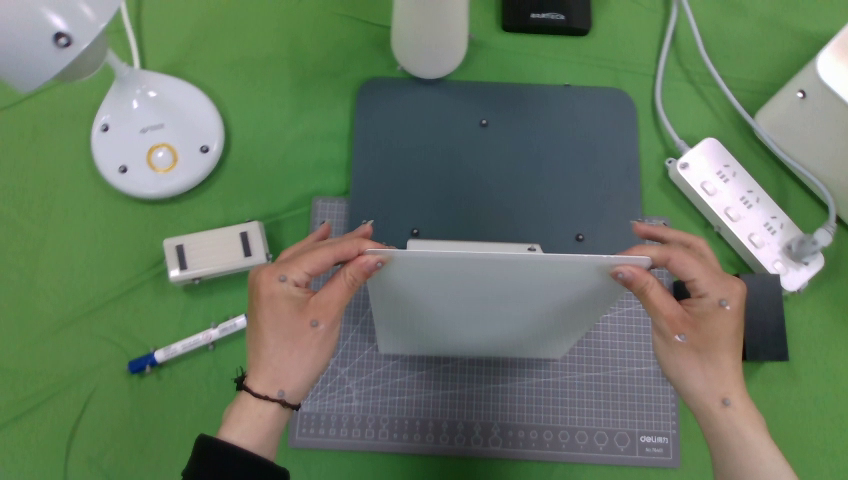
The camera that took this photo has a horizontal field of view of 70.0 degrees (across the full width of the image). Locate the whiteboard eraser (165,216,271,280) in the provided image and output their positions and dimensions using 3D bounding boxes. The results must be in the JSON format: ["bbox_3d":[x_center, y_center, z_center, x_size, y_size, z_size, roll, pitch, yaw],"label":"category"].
[{"bbox_3d":[-0.242,0.009,0.715,0.113,0.042,0.055,-12,80,-5],"label":"whiteboard eraser"}]

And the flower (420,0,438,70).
[{"bbox_3d":[0.024,-0.313,0.636,0.044,0.364,0.038,40,62,13],"label":"flower"}]

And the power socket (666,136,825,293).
[{"bbox_3d":[0.401,-0.033,0.757,0.072,0.033,0.226,-36,81,-10],"label":"power socket"}]

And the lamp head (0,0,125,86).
[{"bbox_3d":[-0.282,-0.186,0.405,0.112,0.124,0.111,-22,43,23],"label":"lamp head"}]

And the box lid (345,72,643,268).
[{"bbox_3d":[0.094,-0.083,0.766,0.372,0.015,0.262,3,77,-2],"label":"box lid"}]

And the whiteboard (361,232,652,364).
[{"bbox_3d":[0.060,0.014,0.605,0.217,0.307,0.142,3,65,-1],"label":"whiteboard"}]

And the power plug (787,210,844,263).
[{"bbox_3d":[0.471,0.001,0.728,0.072,0.053,0.035,-26,77,-12],"label":"power plug"}]

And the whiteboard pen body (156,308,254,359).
[{"bbox_3d":[-0.265,0.113,0.702,0.141,0.017,0.017,-23,78,-6],"label":"whiteboard pen body"}]

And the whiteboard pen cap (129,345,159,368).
[{"bbox_3d":[-0.319,0.133,0.695,0.033,0.018,0.018,-24,78,-4],"label":"whiteboard pen cap"}]

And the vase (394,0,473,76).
[{"bbox_3d":[0.014,-0.279,0.712,0.098,0.201,0.097,1,75,-3],"label":"vase"}]

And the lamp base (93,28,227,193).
[{"bbox_3d":[-0.330,-0.164,0.680,0.161,0.181,0.178,-27,77,-8],"label":"lamp base"}]

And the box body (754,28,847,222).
[{"bbox_3d":[0.623,-0.118,0.718,0.254,0.161,0.363,-41,82,-10],"label":"box body"}]
